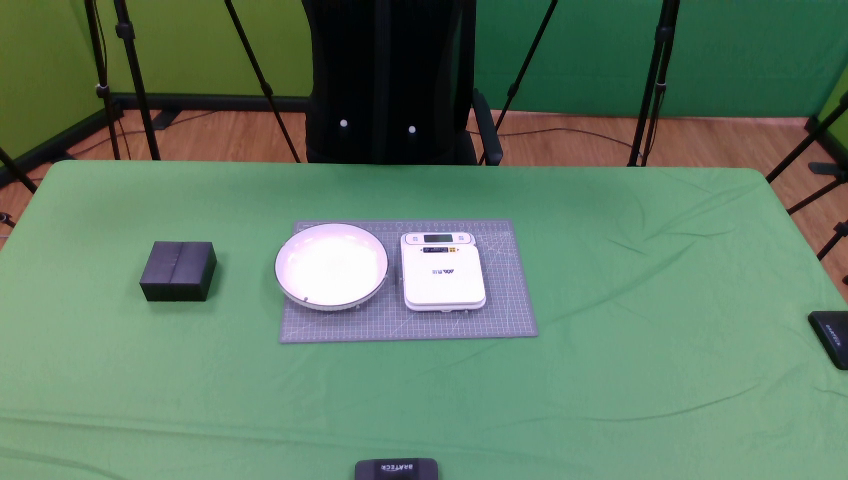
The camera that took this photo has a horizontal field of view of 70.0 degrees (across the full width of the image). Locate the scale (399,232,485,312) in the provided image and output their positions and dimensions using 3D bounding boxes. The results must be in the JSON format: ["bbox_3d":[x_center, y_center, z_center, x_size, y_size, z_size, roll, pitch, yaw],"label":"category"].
[{"bbox_3d":[0.031,0.050,1.141,0.149,0.032,0.199,-1,46,-5],"label":"scale"}]

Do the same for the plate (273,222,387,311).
[{"bbox_3d":[-0.172,0.051,1.120,0.209,0.038,0.208,2,46,-2],"label":"plate"}]
